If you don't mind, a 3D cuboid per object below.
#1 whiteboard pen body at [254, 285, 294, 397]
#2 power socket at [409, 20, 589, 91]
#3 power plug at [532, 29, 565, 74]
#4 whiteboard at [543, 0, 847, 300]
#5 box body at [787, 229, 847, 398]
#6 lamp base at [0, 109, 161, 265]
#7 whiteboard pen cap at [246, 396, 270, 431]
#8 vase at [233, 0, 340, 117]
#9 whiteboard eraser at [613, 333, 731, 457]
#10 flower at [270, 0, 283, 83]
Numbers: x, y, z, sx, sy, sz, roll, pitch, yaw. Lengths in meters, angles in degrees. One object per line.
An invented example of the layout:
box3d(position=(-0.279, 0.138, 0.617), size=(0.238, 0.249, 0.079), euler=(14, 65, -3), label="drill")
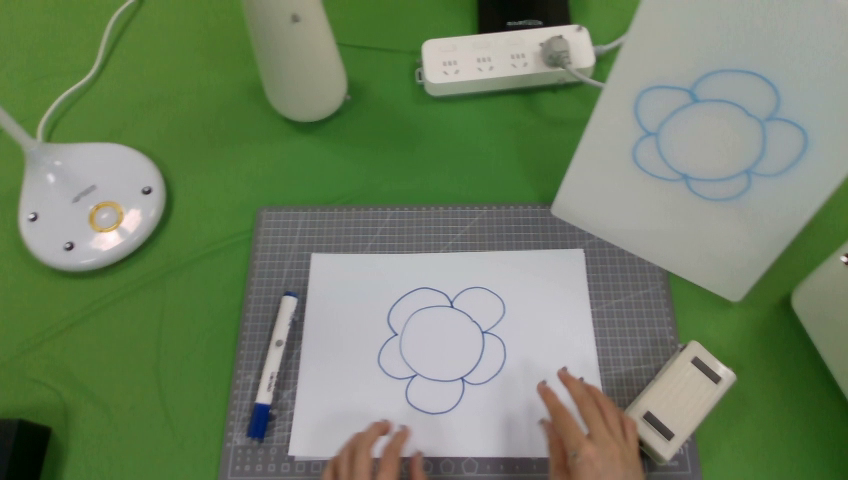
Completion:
box3d(position=(-0.152, 0.113, 0.606), size=(0.017, 0.017, 0.140), euler=(7, 68, 5), label="whiteboard pen body")
box3d(position=(0.094, -0.230, 0.754), size=(0.227, 0.033, 0.071), euler=(-6, 66, -2), label="power socket")
box3d(position=(0.147, -0.218, 0.723), size=(0.035, 0.053, 0.072), euler=(4, 72, 3), label="power plug")
box3d(position=(0.283, -0.127, 0.588), size=(0.216, 0.308, 0.143), euler=(28, 48, 14), label="whiteboard")
box3d(position=(0.530, 0.125, 0.512), size=(0.254, 0.161, 0.361), euler=(-18, 66, -7), label="box body")
box3d(position=(-0.391, -0.084, 0.618), size=(0.178, 0.182, 0.160), euler=(30, 69, 17), label="lamp base")
box3d(position=(-0.159, 0.167, 0.585), size=(0.018, 0.018, 0.033), euler=(6, 68, 5), label="whiteboard pen cap")
box3d(position=(-0.154, -0.226, 0.667), size=(0.098, 0.201, 0.097), euler=(-1, 65, 3), label="vase")
box3d(position=(0.233, 0.145, 0.572), size=(0.112, 0.042, 0.055), euler=(-42, 70, -16), label="whiteboard eraser")
box3d(position=(-0.136, -0.253, 0.589), size=(0.038, 0.362, 0.044), euler=(47, 65, 2), label="flower")
